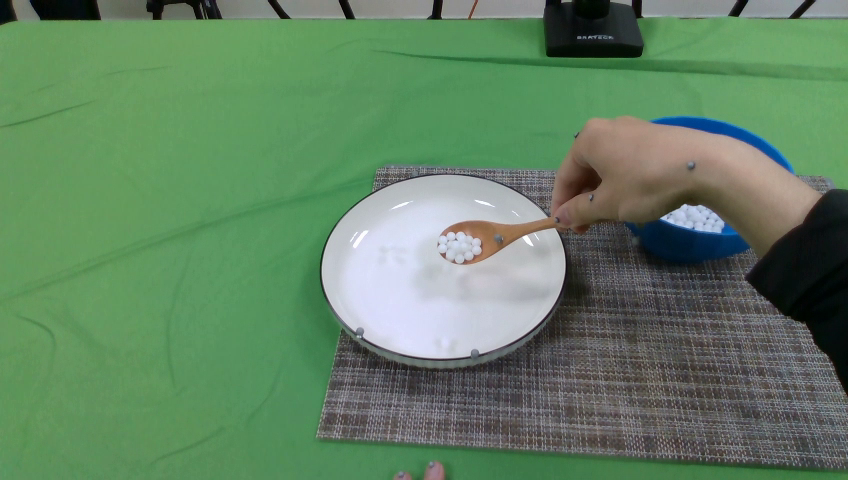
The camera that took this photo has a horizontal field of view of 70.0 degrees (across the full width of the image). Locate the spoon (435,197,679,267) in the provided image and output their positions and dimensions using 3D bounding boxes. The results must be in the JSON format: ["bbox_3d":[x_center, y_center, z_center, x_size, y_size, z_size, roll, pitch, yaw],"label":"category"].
[{"bbox_3d":[0.093,-0.009,0.464,0.193,0.022,0.041,-12,55,34],"label":"spoon"}]

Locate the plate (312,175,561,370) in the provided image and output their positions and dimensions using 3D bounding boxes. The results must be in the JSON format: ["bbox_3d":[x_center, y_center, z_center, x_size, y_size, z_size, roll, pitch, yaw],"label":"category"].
[{"bbox_3d":[0.011,0.026,0.521,0.207,0.039,0.205,-2,48,2],"label":"plate"}]

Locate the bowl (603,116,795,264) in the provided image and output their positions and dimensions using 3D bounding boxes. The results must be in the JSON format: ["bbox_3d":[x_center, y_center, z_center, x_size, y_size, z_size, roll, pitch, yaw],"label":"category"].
[{"bbox_3d":[0.228,-0.032,0.532,0.151,0.077,0.150,-1,48,2],"label":"bowl"}]
